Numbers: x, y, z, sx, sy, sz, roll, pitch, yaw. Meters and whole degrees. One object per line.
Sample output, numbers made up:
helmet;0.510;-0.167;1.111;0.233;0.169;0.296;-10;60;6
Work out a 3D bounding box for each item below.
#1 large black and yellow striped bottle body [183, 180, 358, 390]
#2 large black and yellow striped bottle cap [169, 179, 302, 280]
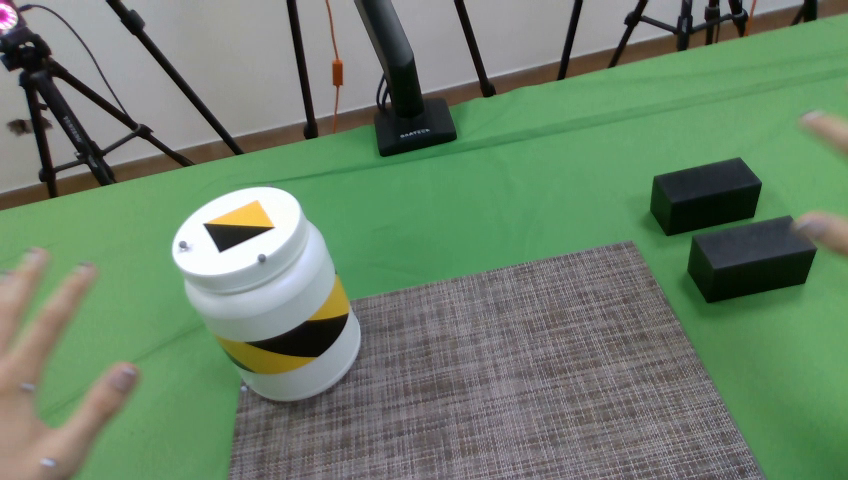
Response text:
large black and yellow striped bottle body;-0.148;0.046;0.590;0.130;0.186;0.129;-7;44;8
large black and yellow striped bottle cap;-0.165;-0.012;0.532;0.115;0.019;0.114;-7;43;7
